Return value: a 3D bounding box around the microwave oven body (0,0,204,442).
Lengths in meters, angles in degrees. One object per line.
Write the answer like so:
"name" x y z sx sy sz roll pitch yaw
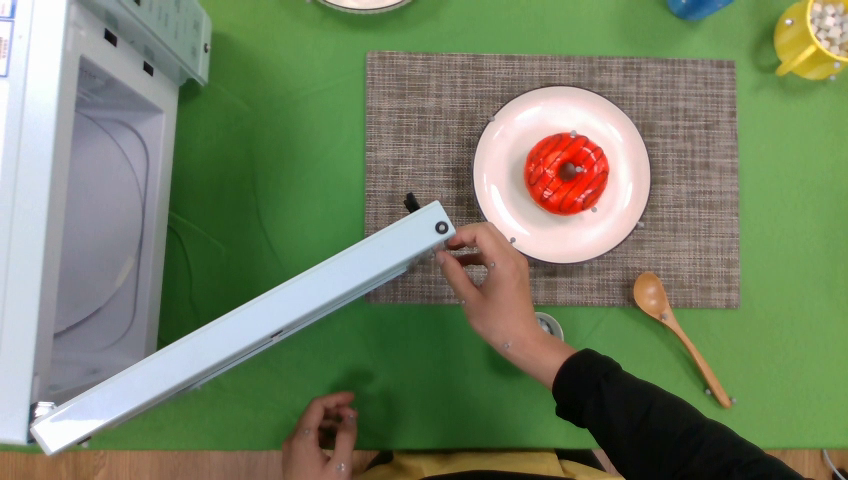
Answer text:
"microwave oven body" -0.418 -0.067 0.579 0.326 0.260 0.441 4 88 -2

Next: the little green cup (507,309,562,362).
"little green cup" 0.125 0.110 0.702 0.061 0.038 0.061 0 84 -2

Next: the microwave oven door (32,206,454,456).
"microwave oven door" -0.138 0.072 0.577 0.356 0.244 0.039 -29 87 -3

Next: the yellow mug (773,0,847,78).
"yellow mug" 0.469 -0.242 0.716 0.131 0.064 0.100 -41 89 -2

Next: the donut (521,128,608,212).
"donut" 0.161 -0.080 0.698 0.099 0.048 0.099 0 89 0

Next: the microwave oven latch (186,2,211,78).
"microwave oven latch" -0.260 -0.227 0.688 0.030 0.029 0.079 5 88 -2

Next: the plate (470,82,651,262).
"plate" 0.156 -0.077 0.709 0.209 0.038 0.209 0 88 -1

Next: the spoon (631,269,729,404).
"spoon" 0.304 0.117 0.714 0.041 0.021 0.193 -36 90 -19

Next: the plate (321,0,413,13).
"plate" -0.068 -0.367 0.719 0.208 0.039 0.207 0 87 -2

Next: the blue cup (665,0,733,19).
"blue cup" 0.326 -0.303 0.698 0.093 0.100 0.092 0 88 -2
